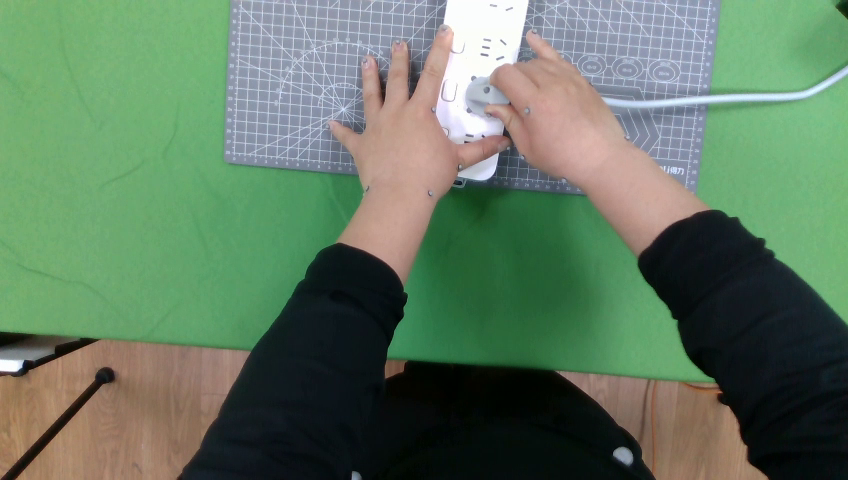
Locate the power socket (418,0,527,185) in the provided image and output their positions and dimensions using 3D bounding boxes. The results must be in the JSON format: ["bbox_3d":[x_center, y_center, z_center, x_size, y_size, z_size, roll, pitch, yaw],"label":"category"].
[{"bbox_3d":[0.046,-0.163,0.550,0.072,0.032,0.227,11,97,-1],"label":"power socket"}]

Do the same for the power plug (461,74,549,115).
[{"bbox_3d":[0.067,-0.121,0.535,0.072,0.052,0.035,26,96,-3],"label":"power plug"}]
